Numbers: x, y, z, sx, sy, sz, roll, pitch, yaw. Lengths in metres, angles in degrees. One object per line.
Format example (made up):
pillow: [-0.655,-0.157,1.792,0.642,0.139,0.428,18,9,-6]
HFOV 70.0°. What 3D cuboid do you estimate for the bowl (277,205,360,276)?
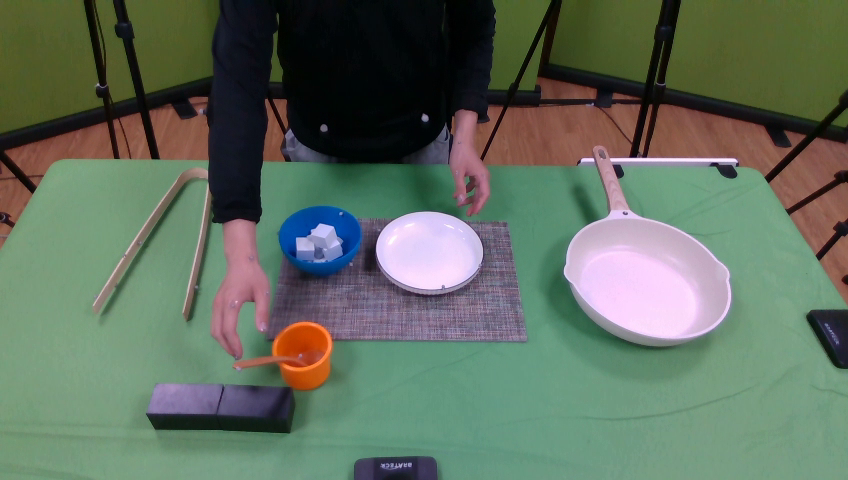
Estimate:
bowl: [-0.193,0.013,1.125,0.151,0.077,0.150,2,46,-2]

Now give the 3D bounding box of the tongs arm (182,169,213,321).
tongs arm: [-0.436,-0.005,1.166,0.028,0.028,0.385,-5,46,-6]

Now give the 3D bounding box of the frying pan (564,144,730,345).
frying pan: [0.396,-0.008,1.179,0.307,0.103,0.484,0,55,-5]

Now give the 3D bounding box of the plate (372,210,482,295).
plate: [0.005,0.028,1.155,0.208,0.039,0.206,2,46,-2]

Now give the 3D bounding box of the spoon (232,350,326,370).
spoon: [-0.216,0.183,0.920,0.041,0.194,0.021,43,101,27]

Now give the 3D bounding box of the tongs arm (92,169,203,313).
tongs arm: [-0.517,-0.012,1.160,0.051,0.026,0.382,7,45,1]
